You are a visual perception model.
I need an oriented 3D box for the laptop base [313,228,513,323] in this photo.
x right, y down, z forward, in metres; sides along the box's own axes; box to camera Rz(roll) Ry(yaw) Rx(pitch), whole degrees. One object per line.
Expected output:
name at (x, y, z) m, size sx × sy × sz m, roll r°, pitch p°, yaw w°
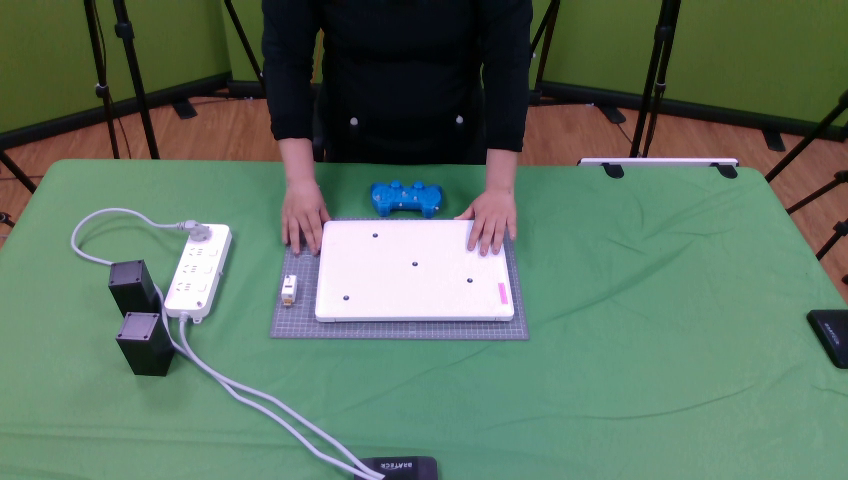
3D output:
laptop base at (-0.021, 0.062, 1.136) m, size 0.355 × 0.023 × 0.234 m, roll 0°, pitch 42°, yaw -4°

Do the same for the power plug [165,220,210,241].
power plug at (-0.440, -0.015, 1.143) m, size 0.072 × 0.053 × 0.035 m, roll 7°, pitch 46°, yaw 9°

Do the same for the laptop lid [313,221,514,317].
laptop lid at (-0.020, 0.048, 1.125) m, size 0.357 × 0.013 × 0.240 m, roll 2°, pitch 47°, yaw -3°

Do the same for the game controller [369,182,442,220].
game controller at (-0.039, -0.091, 1.268) m, size 0.155 × 0.052 × 0.096 m, roll 2°, pitch 50°, yaw -2°

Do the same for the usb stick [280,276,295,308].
usb stick at (-0.244, 0.093, 1.080) m, size 0.021 × 0.027 × 0.059 m, roll 4°, pitch 47°, yaw -5°

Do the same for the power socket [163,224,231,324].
power socket at (-0.411, 0.052, 1.107) m, size 0.072 × 0.033 × 0.225 m, roll 3°, pitch 46°, yaw -3°
